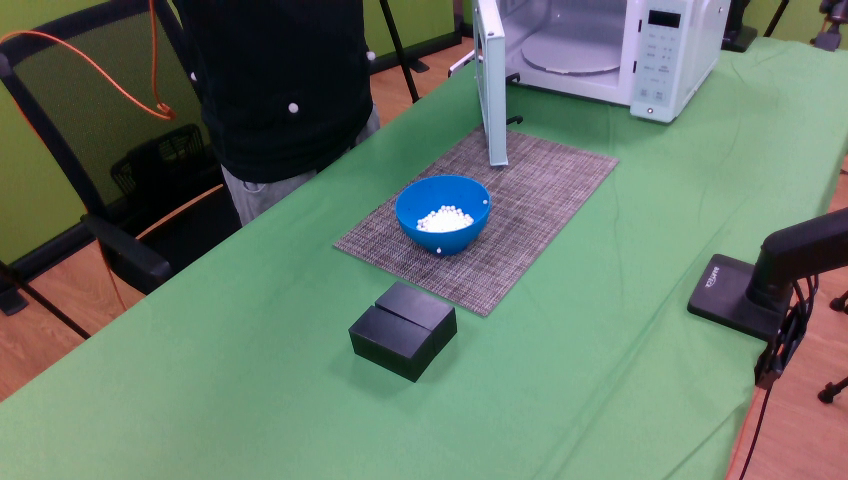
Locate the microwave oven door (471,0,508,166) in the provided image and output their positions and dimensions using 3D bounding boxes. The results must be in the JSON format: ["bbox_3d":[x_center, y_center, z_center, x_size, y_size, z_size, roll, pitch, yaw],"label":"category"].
[{"bbox_3d":[0.122,-0.340,1.154,0.039,0.245,0.354,-5,40,3],"label":"microwave oven door"}]

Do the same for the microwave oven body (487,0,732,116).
[{"bbox_3d":[0.377,-0.463,1.267,0.438,0.261,0.327,21,49,30],"label":"microwave oven body"}]

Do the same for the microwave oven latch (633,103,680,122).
[{"bbox_3d":[0.443,-0.249,1.158,0.078,0.029,0.030,21,49,30],"label":"microwave oven latch"}]

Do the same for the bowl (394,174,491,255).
[{"bbox_3d":[0.032,-0.030,0.949,0.151,0.077,0.150,-4,40,4],"label":"bowl"}]
